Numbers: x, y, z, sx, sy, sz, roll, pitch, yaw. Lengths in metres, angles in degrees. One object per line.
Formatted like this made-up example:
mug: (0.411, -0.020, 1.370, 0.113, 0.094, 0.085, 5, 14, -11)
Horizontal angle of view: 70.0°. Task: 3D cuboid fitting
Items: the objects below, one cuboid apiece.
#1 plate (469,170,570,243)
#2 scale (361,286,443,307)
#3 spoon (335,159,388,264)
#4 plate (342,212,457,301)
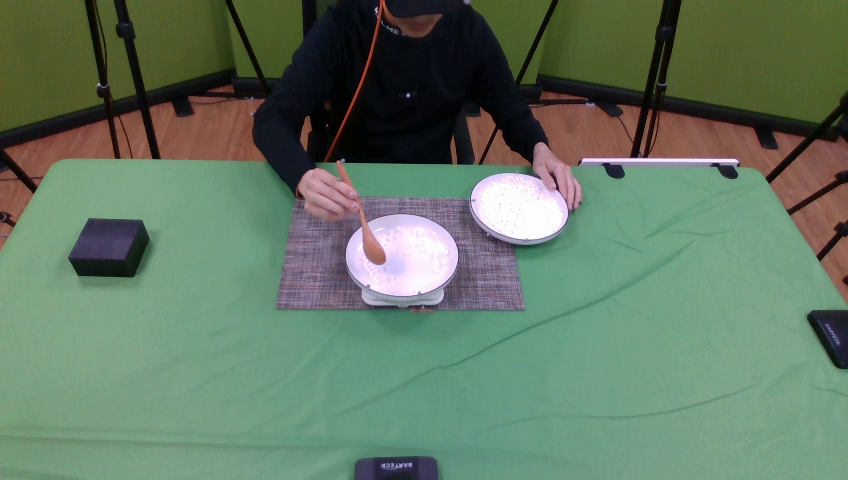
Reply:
plate: (0.196, -0.066, 1.259, 0.209, 0.038, 0.208, 3, 46, -3)
scale: (-0.042, 0.040, 1.143, 0.149, 0.032, 0.199, 0, 46, -4)
spoon: (-0.110, -0.047, 1.035, 0.021, 0.041, 0.193, -21, 89, -54)
plate: (-0.044, 0.033, 1.105, 0.208, 0.039, 0.206, 2, 46, -2)
